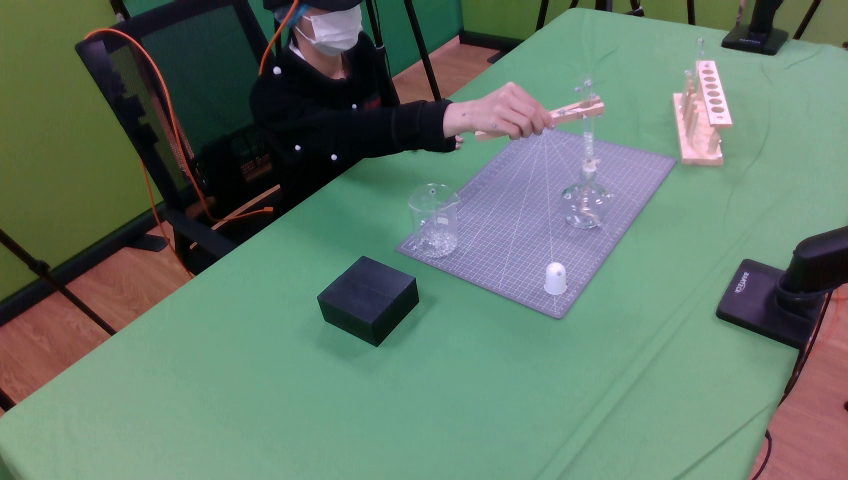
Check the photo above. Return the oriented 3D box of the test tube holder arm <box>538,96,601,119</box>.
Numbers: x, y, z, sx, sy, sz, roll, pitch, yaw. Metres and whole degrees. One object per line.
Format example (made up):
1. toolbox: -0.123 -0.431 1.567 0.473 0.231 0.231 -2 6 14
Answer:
1. test tube holder arm: 0.203 -0.180 0.843 0.088 0.015 0.010 -18 49 1

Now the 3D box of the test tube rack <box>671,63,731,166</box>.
1. test tube rack: 0.513 -0.240 1.132 0.066 0.085 0.242 4 41 14

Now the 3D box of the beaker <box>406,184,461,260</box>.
1. beaker: 0.019 -0.026 0.939 0.084 0.101 0.074 1 41 10

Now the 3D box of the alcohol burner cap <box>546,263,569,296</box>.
1. alcohol burner cap: 0.191 0.053 0.862 0.034 0.048 0.033 -5 40 4

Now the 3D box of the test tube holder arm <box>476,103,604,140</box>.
1. test tube holder arm: 0.160 -0.165 0.843 0.178 0.015 0.013 -12 49 7

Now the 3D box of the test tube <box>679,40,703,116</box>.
1. test tube: 0.502 -0.303 1.138 0.017 0.151 0.017 -3 40 3

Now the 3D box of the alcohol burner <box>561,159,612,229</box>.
1. alcohol burner: 0.257 -0.077 0.951 0.078 0.119 0.077 -3 40 3

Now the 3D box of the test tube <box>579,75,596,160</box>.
1. test tube: 0.232 -0.169 0.855 0.017 0.151 0.017 -9 50 12
